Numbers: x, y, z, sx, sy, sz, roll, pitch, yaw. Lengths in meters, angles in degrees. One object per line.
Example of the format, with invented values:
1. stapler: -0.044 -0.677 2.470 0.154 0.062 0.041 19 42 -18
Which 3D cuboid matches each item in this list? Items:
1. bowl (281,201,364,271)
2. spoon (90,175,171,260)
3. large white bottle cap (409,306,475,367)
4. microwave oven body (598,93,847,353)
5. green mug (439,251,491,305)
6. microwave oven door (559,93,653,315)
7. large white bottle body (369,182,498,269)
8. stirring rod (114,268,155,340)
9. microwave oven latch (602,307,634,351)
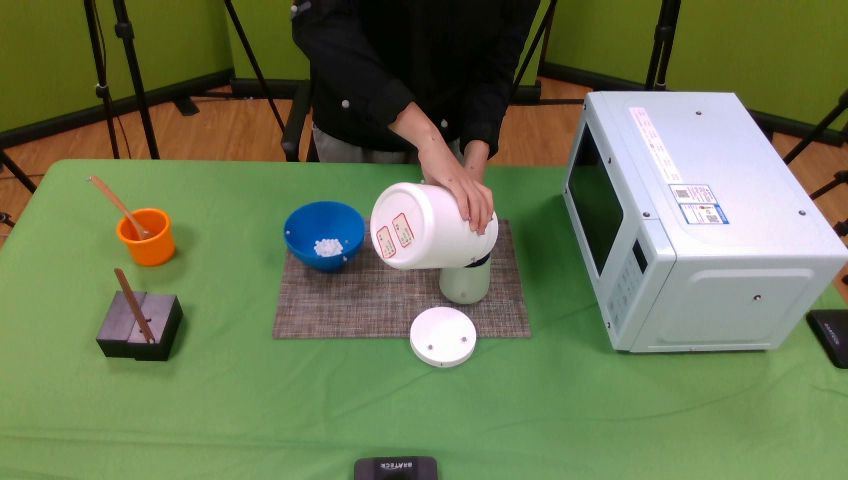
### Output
1. bowl: -0.187 0.005 1.137 0.151 0.077 0.150 3 46 -3
2. spoon: -0.538 -0.042 1.112 0.041 0.194 0.021 -45 19 -32
3. large white bottle cap: 0.031 0.164 1.040 0.115 0.018 0.114 3 50 -3
4. microwave oven body: 0.475 -0.041 1.109 0.326 0.261 0.438 -1 45 -4
5. green mug: 0.072 0.044 1.101 0.092 0.105 0.124 -6 47 -9
6. microwave oven door: 0.327 -0.074 1.123 0.039 0.245 0.353 -1 46 -5
7. large white bottle body: 0.021 -0.020 0.959 0.185 0.131 0.130 1 36 -47
8. stirring rod: -0.479 0.103 0.999 0.014 0.006 0.175 7 32 -49
9. microwave oven latch: 0.332 0.153 1.044 0.030 0.029 0.078 -1 45 -4
